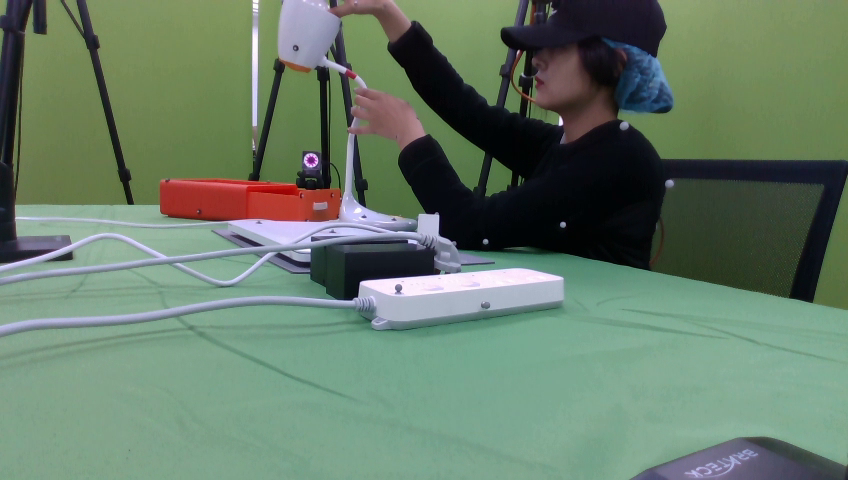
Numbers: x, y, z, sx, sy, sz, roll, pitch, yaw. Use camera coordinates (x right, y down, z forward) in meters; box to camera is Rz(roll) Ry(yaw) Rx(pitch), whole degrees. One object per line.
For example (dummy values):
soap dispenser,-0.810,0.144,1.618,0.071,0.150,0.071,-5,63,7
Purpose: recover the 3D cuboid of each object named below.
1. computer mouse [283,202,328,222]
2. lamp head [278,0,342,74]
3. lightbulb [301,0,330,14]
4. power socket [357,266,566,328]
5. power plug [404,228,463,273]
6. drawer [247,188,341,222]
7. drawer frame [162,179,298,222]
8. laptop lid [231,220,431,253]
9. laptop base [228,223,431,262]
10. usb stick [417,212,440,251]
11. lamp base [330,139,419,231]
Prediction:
computer mouse,-0.251,-0.061,1.290,0.063,0.041,0.117,3,4,10
lamp head,-0.221,-0.375,1.133,0.112,0.123,0.112,16,13,-3
lightbulb,-0.212,-0.395,1.121,0.059,0.107,0.059,20,13,-5
power socket,0.042,0.049,0.572,0.228,0.032,0.072,-3,8,-34
power plug,0.006,0.016,0.647,0.073,0.052,0.035,18,12,-6
drawer,-0.312,-0.079,1.298,0.211,0.073,0.195,4,9,16
drawer frame,-0.419,-0.089,1.329,0.213,0.082,0.202,4,8,17
laptop lid,-0.142,-0.009,0.942,0.243,0.013,0.355,1,7,-31
laptop base,-0.145,0.003,0.942,0.237,0.023,0.352,2,6,-32
usb stick,0.005,-0.003,0.721,0.027,0.059,0.021,0,-3,-3
lamp base,-0.099,-0.112,1.207,0.179,0.180,0.160,-1,6,-7
